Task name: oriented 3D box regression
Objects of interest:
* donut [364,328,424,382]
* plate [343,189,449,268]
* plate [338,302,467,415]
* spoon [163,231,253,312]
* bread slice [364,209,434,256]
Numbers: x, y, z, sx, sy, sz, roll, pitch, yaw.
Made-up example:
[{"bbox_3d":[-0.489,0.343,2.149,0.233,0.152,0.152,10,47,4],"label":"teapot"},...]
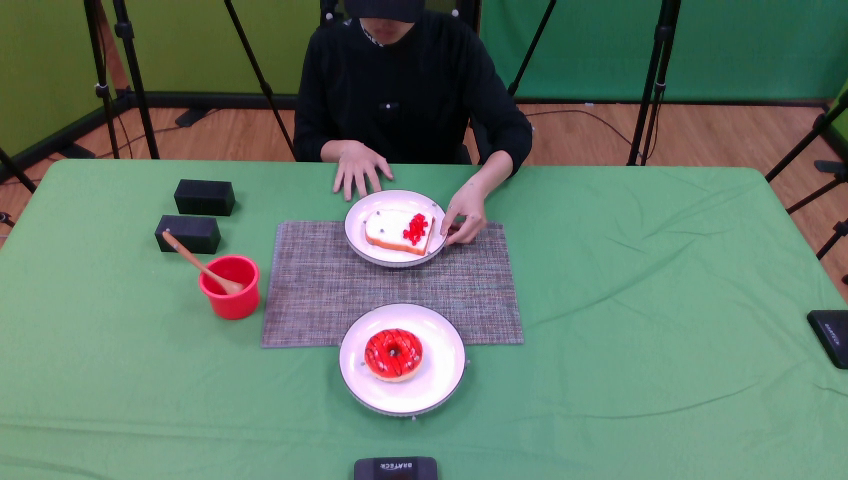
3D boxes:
[{"bbox_3d":[-0.049,0.185,0.984,0.099,0.048,0.098,1,45,-1],"label":"donut"},{"bbox_3d":[-0.055,-0.020,1.195,0.209,0.038,0.208,3,46,-2],"label":"plate"},{"bbox_3d":[-0.035,0.194,0.992,0.208,0.039,0.206,2,48,-2],"label":"plate"},{"bbox_3d":[-0.364,0.054,1.025,0.194,0.021,0.041,43,49,-17],"label":"spoon"},{"bbox_3d":[-0.053,-0.020,1.199,0.131,0.019,0.104,10,46,4],"label":"bread slice"}]
